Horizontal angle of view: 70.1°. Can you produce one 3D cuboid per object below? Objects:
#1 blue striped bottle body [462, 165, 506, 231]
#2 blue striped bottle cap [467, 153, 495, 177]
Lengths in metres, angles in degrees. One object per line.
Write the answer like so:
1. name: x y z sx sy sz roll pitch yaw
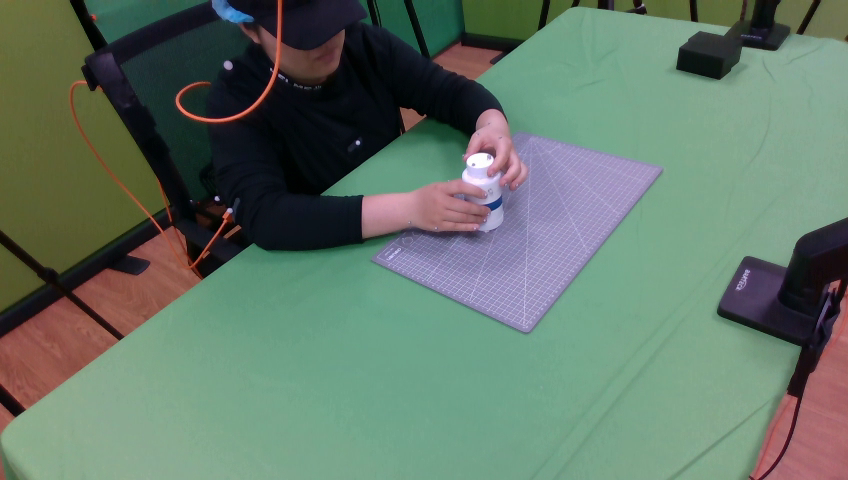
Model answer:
1. blue striped bottle body: 0.096 -0.079 0.978 0.063 0.121 0.063 -8 41 7
2. blue striped bottle cap: 0.088 -0.118 0.944 0.044 0.021 0.044 -4 40 4
